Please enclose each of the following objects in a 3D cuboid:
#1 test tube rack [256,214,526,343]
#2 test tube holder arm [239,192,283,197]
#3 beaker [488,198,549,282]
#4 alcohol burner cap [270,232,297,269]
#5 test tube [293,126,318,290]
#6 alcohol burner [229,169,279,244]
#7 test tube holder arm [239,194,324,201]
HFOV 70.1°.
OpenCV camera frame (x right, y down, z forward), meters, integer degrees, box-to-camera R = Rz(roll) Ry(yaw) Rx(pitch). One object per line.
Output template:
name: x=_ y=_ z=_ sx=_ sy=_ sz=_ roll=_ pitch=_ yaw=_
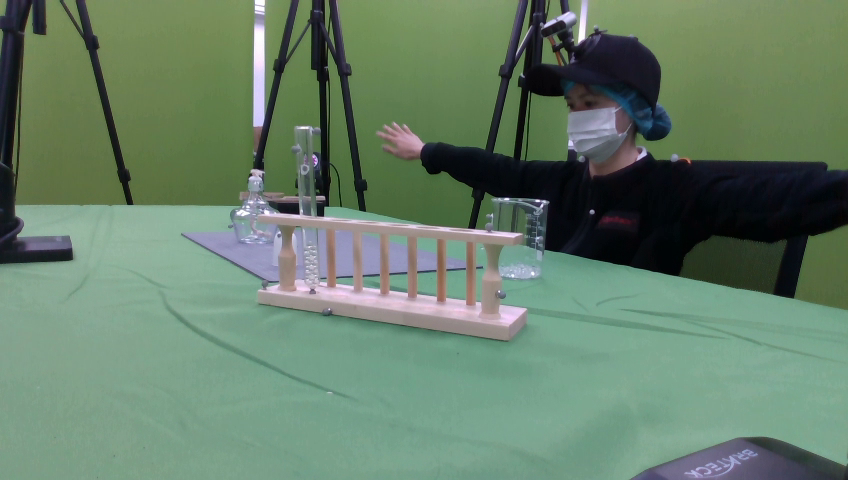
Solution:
test tube rack: x=-0.032 y=0.027 z=0.547 sx=0.241 sy=0.085 sz=0.067 roll=5 pitch=8 yaw=22
test tube holder arm: x=-0.325 y=-0.091 z=1.213 sx=0.088 sy=0.010 sz=0.015 roll=-2 pitch=8 yaw=-36
beaker: x=0.120 y=-0.001 z=0.768 sx=0.074 sy=0.100 sz=0.083 roll=-1 pitch=9 yaw=-25
alcohol burner cap: x=-0.175 y=0.012 z=0.760 sx=0.034 sy=0.048 sz=0.034 roll=2 pitch=8 yaw=0
test tube: x=-0.107 y=-0.027 z=0.550 sx=0.017 sy=0.150 sz=0.017 roll=-1 pitch=11 yaw=0
alcohol burner: x=-0.268 y=-0.053 z=0.958 sx=0.078 sy=0.119 sz=0.078 roll=2 pitch=5 yaw=0
test tube holder arm: x=-0.289 y=-0.088 z=1.240 sx=0.179 sy=0.013 sz=0.015 roll=-3 pitch=9 yaw=-36
